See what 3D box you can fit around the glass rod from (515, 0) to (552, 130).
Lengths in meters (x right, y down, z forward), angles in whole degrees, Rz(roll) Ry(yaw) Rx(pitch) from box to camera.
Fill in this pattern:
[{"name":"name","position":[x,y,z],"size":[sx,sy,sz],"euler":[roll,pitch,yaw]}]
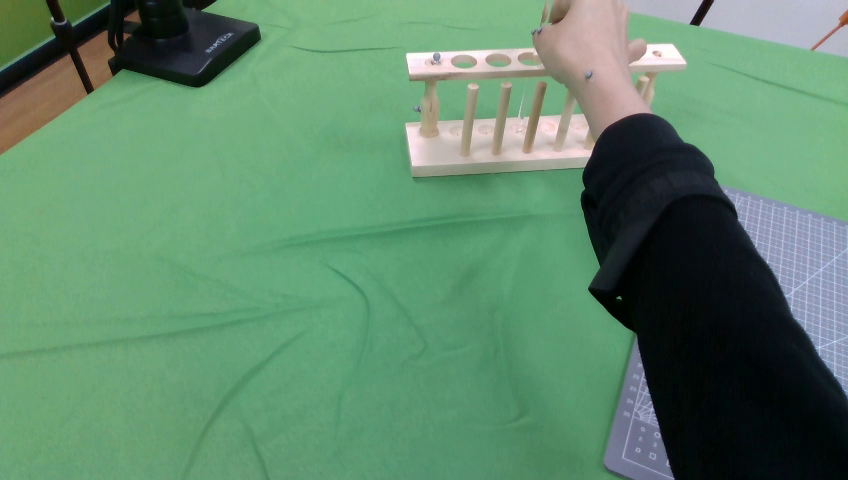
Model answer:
[{"name":"glass rod","position":[0.095,-0.169,0.499],"size":[0.008,0.201,0.008],"euler":[3,49,-3]}]

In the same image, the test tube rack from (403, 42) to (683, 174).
[{"name":"test tube rack","position":[0.105,-0.119,0.544],"size":[0.243,0.086,0.066],"euler":[-4,47,-6]}]
